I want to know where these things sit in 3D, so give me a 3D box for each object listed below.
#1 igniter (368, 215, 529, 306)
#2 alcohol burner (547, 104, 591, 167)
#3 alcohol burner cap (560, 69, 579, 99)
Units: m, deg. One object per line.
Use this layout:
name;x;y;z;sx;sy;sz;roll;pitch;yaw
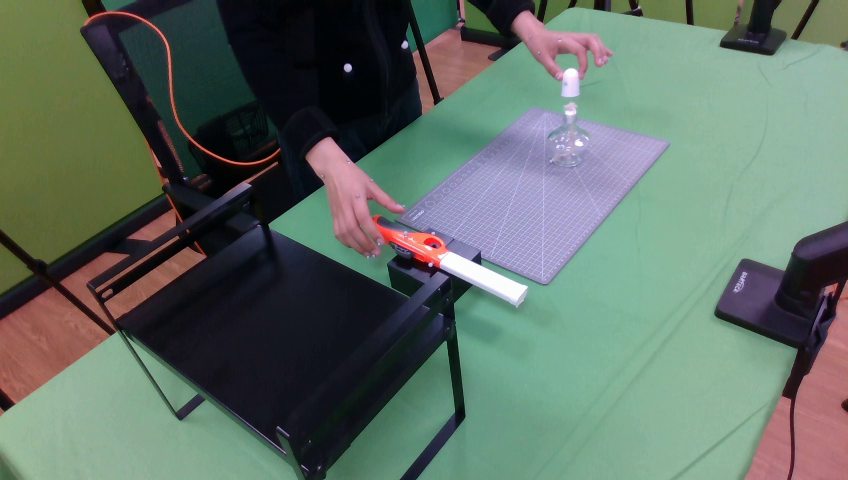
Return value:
igniter;0.024;0.024;0.868;0.274;0.025;0.057;25;49;28
alcohol burner;0.261;-0.192;1.087;0.078;0.119;0.077;-5;42;5
alcohol burner cap;0.253;-0.273;1.052;0.034;0.048;0.033;-4;28;3
